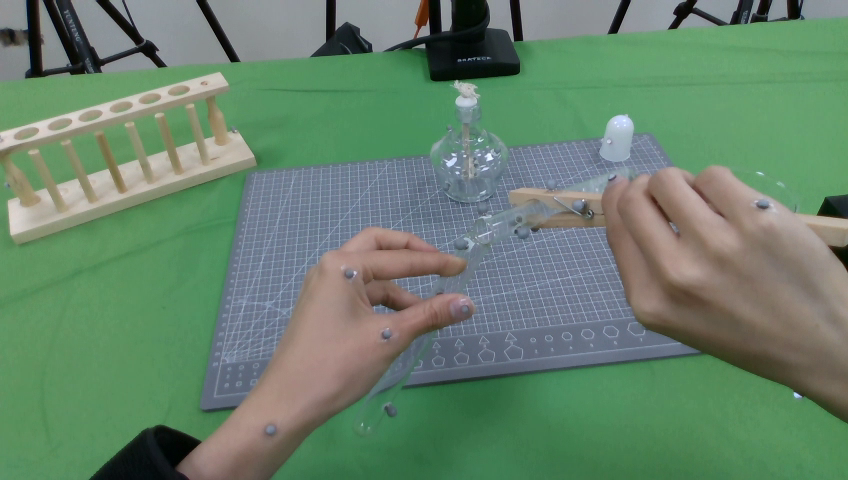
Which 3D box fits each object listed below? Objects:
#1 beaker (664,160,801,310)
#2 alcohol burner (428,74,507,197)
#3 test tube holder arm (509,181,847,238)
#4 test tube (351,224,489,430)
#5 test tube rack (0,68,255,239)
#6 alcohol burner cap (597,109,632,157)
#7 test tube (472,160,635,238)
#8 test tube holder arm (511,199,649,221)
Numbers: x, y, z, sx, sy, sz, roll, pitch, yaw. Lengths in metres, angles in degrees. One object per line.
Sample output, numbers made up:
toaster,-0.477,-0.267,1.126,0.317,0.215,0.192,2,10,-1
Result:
beaker,0.232,-0.002,0.474,0.074,0.101,0.083,-27,47,-23
alcohol burner,0.041,-0.102,0.583,0.078,0.120,0.077,-3,42,3
test tube holder arm,0.111,-0.018,0.304,0.015,0.013,0.177,-21,20,-35
test tube,-0.006,0.055,0.354,0.017,0.151,0.017,27,20,-10
test tube rack,-0.309,-0.094,0.621,0.243,0.086,0.066,-23,46,-20
alcohol burner cap,0.202,-0.116,0.640,0.034,0.048,0.033,-2,43,2
test tube,0.086,-0.028,0.371,0.150,0.017,0.017,-21,43,-38
test tube holder arm,0.084,-0.017,0.341,0.015,0.010,0.087,-21,15,-35
